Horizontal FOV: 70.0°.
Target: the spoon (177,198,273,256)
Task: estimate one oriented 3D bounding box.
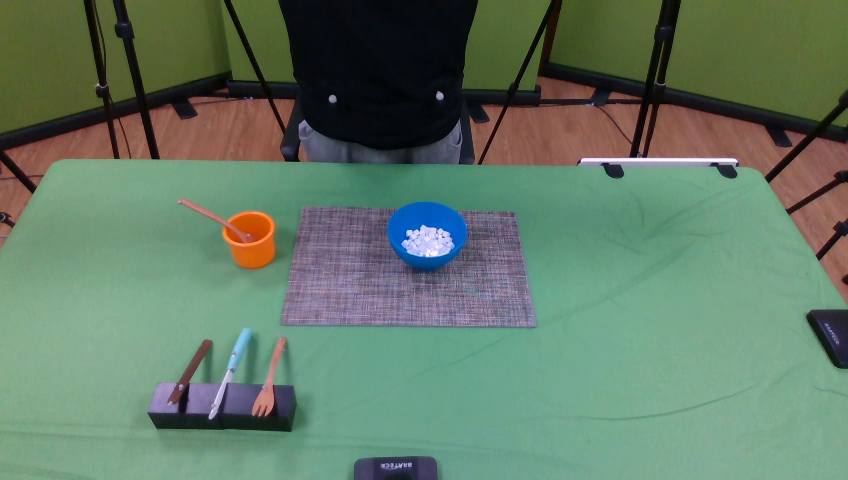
[{"bbox_3d":[-0.361,-0.025,1.107,0.021,0.195,0.041,-31,37,30],"label":"spoon"}]

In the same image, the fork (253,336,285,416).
[{"bbox_3d":[-0.235,0.206,0.938,0.028,0.019,0.206,-3,26,-3],"label":"fork"}]

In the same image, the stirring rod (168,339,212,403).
[{"bbox_3d":[-0.360,0.199,0.939,0.014,0.006,0.175,9,20,-6],"label":"stirring rod"}]

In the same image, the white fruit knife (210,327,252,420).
[{"bbox_3d":[-0.298,0.200,0.938,0.016,0.027,0.206,-1,30,0],"label":"white fruit knife"}]

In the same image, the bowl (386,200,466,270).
[{"bbox_3d":[0.002,0.003,1.150,0.151,0.077,0.150,2,46,-2],"label":"bowl"}]
